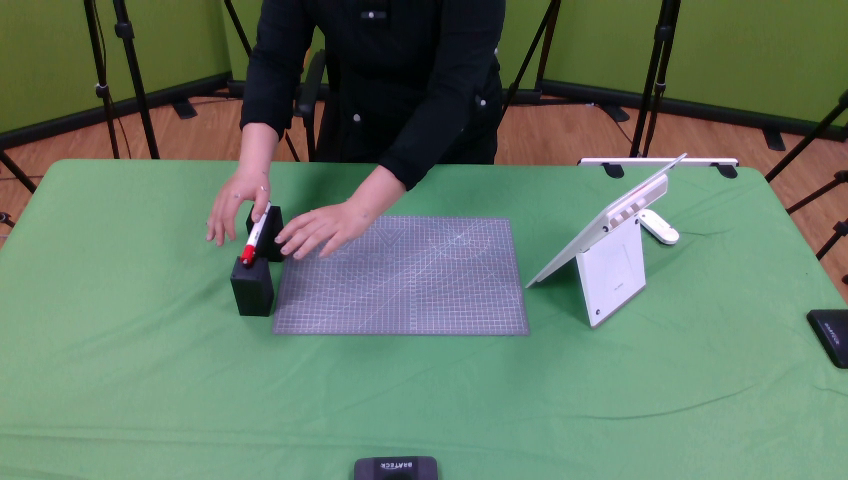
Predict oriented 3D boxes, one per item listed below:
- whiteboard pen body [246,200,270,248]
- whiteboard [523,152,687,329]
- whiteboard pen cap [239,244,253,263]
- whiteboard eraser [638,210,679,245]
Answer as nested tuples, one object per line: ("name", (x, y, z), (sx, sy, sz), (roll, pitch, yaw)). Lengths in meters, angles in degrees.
("whiteboard pen body", (-0.293, -0.020, 1.060), (0.017, 0.017, 0.140), (5, 47, 1))
("whiteboard", (0.346, 0.024, 1.047), (0.217, 0.306, 0.143), (-30, 74, -29))
("whiteboard pen cap", (-0.298, 0.022, 1.016), (0.017, 0.017, 0.032), (5, 44, 1))
("whiteboard eraser", (0.485, -0.027, 1.260), (0.041, 0.019, 0.100), (-20, 50, -22))
